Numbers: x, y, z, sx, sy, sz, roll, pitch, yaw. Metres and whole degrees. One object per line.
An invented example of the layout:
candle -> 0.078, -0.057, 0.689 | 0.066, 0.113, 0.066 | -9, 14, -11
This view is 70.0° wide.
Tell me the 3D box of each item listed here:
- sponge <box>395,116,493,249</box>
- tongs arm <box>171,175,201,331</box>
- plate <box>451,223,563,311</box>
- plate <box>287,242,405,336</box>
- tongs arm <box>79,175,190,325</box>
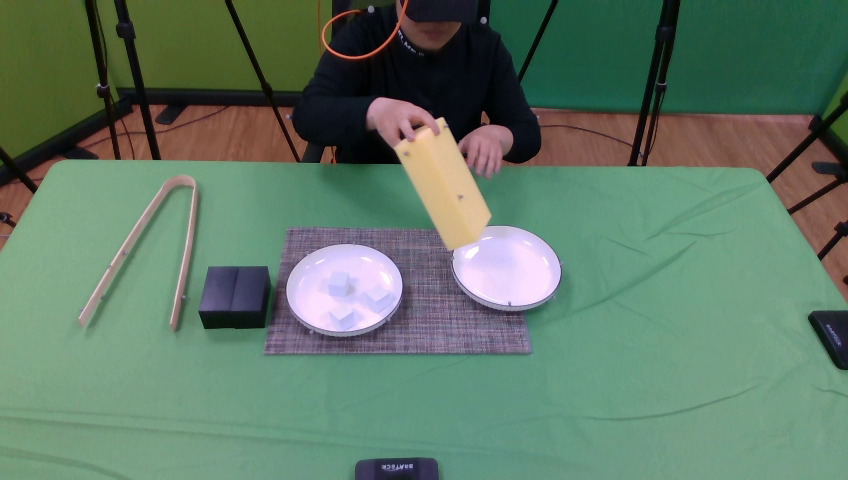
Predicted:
sponge -> 0.040, -0.102, 1.069 | 0.061, 0.207, 0.118 | -20, 20, 27
tongs arm -> -0.453, 0.010, 1.151 | 0.028, 0.028, 0.385 | -6, 47, -6
plate -> 0.154, 0.053, 1.140 | 0.209, 0.038, 0.208 | 2, 47, -2
plate -> -0.138, 0.090, 1.084 | 0.208, 0.039, 0.206 | 2, 46, -2
tongs arm -> -0.534, 0.004, 1.145 | 0.051, 0.026, 0.382 | 6, 45, 1
